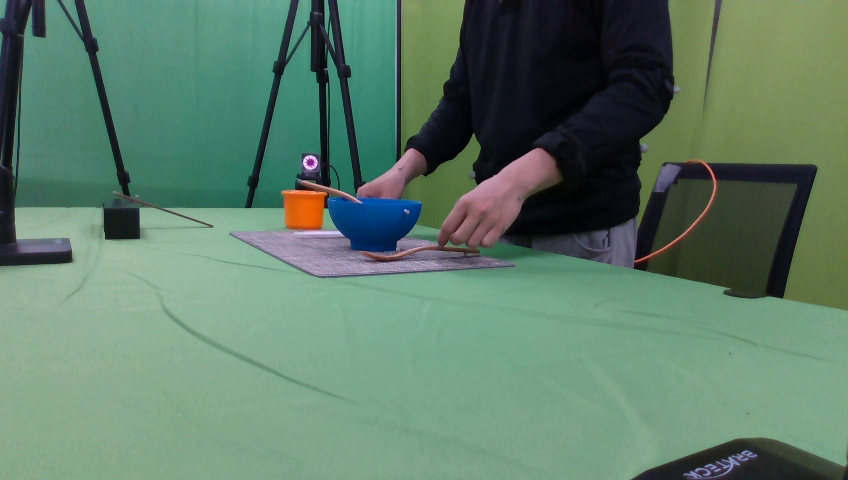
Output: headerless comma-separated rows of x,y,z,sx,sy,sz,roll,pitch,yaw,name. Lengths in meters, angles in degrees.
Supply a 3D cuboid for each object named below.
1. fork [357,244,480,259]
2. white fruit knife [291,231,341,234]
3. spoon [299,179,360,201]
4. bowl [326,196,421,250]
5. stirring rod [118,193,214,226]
-0.001,0.016,0.877,0.208,0.018,0.028,-4,-3,-33,fork
-0.137,-0.015,1.090,0.208,0.016,0.027,-1,2,-30,white fruit knife
-0.124,-0.068,0.993,0.193,0.021,0.042,25,9,17,spoon
-0.080,-0.027,0.957,0.151,0.077,0.151,2,7,0,bowl
-0.484,-0.056,1.142,0.177,0.006,0.014,21,-6,-28,stirring rod
